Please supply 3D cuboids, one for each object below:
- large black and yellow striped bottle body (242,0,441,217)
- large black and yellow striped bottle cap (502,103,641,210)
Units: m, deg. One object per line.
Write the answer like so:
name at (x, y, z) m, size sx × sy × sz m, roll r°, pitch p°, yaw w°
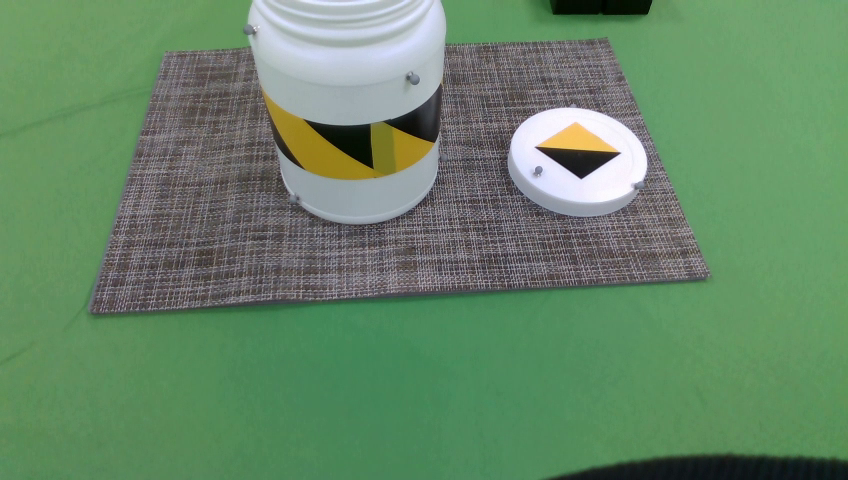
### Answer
large black and yellow striped bottle body at (-0.055, -0.120, 0.436) m, size 0.131 × 0.185 × 0.129 m, roll 1°, pitch 53°, yaw -1°
large black and yellow striped bottle cap at (0.125, -0.073, 0.514) m, size 0.115 × 0.019 × 0.114 m, roll 2°, pitch 52°, yaw -2°
